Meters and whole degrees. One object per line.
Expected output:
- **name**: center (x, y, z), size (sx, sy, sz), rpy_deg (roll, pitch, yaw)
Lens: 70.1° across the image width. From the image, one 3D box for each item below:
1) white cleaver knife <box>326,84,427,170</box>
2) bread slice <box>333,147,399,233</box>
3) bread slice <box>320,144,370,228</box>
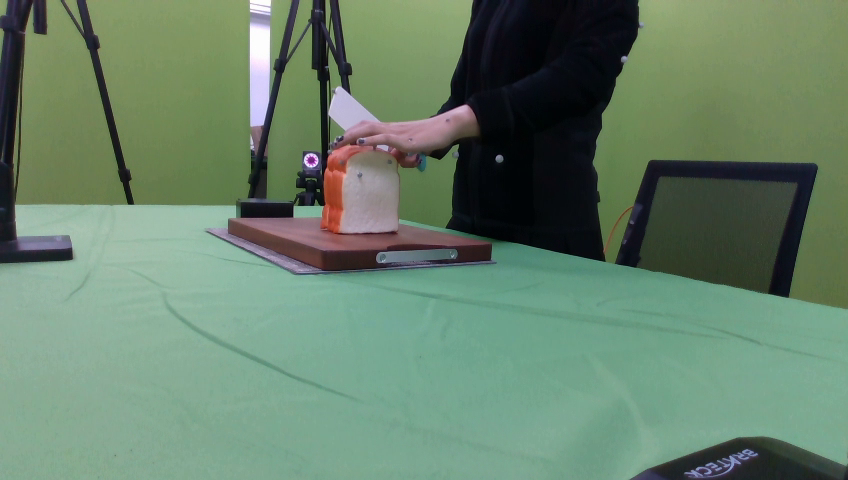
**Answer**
- **white cleaver knife**: center (-0.077, -0.176, 1.041), size (0.021, 0.066, 0.288), rpy_deg (8, -12, 34)
- **bread slice**: center (-0.084, -0.074, 0.908), size (0.105, 0.131, 0.019), rpy_deg (-4, 15, -31)
- **bread slice**: center (-0.106, -0.083, 0.952), size (0.107, 0.134, 0.018), rpy_deg (2, 6, -32)
